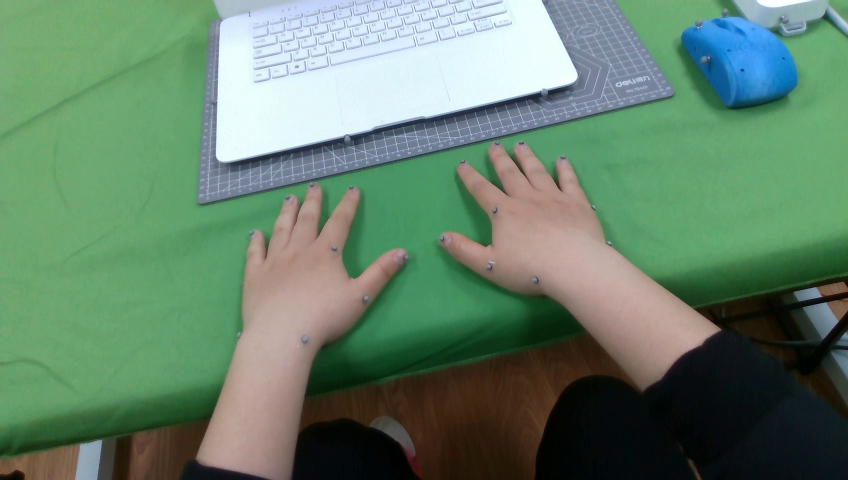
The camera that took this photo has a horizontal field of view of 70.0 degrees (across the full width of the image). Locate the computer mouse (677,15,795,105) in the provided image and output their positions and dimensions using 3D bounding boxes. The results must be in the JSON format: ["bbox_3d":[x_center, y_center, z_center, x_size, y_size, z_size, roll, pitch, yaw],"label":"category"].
[{"bbox_3d":[0.283,-0.172,0.554,0.063,0.041,0.116,-13,48,3],"label":"computer mouse"}]

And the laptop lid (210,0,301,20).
[{"bbox_3d":[-0.087,-0.377,0.632,0.357,0.244,0.013,-14,41,1],"label":"laptop lid"}]

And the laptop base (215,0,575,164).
[{"bbox_3d":[-0.046,-0.198,0.640,0.354,0.023,0.233,-13,57,0],"label":"laptop base"}]

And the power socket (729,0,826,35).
[{"bbox_3d":[0.340,-0.297,0.637,0.072,0.033,0.224,-10,53,3],"label":"power socket"}]
